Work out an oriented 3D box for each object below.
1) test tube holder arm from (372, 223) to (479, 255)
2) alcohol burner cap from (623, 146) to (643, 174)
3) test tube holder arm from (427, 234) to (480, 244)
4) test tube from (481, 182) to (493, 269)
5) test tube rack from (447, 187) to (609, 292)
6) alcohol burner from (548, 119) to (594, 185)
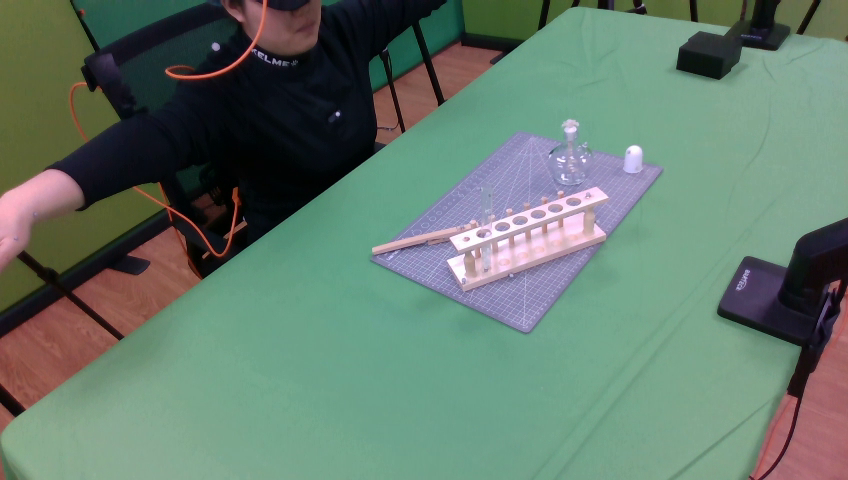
[{"bbox_3d":[0.003,-0.002,0.980,0.178,0.013,0.015,-12,34,-2],"label":"test tube holder arm"},{"bbox_3d":[0.369,-0.143,1.061,0.034,0.048,0.033,-6,40,6],"label":"alcohol burner cap"},{"bbox_3d":[0.048,-0.006,0.986,0.088,0.010,0.015,-7,34,-5],"label":"test tube holder arm"},{"bbox_3d":[0.089,-0.016,0.854,0.017,0.151,0.017,-2,39,2],"label":"test tube"},{"bbox_3d":[0.154,-0.011,0.913,0.243,0.085,0.066,-19,41,-11],"label":"test tube rack"},{"bbox_3d":[0.254,-0.155,1.043,0.078,0.120,0.077,-7,40,6],"label":"alcohol burner"}]
